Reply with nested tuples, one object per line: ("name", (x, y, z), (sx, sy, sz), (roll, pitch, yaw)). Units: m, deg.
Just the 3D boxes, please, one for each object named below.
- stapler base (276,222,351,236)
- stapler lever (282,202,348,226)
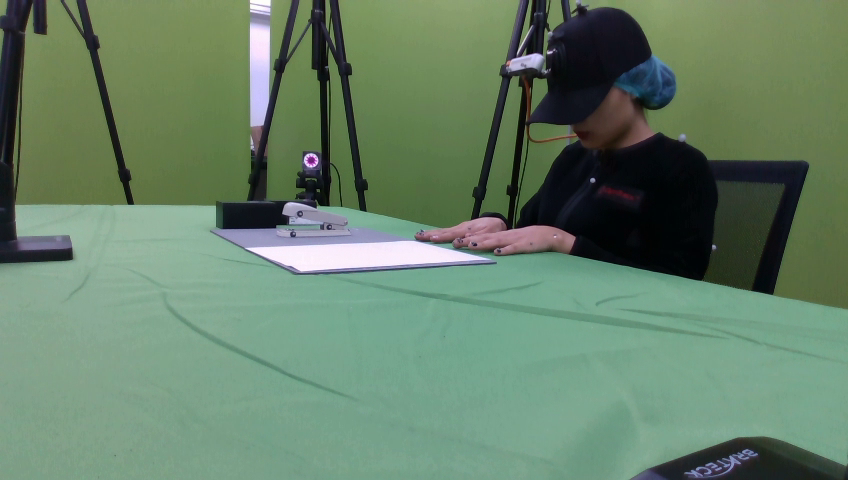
("stapler base", (-0.195, -0.020, 1.075), (0.131, 0.024, 0.041), (0, 10, -33))
("stapler lever", (-0.193, -0.045, 1.073), (0.119, 0.040, 0.026), (0, 10, -33))
